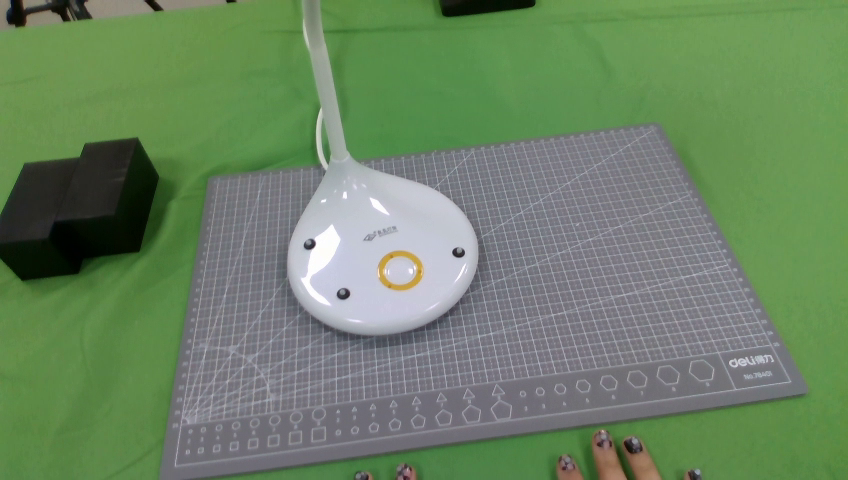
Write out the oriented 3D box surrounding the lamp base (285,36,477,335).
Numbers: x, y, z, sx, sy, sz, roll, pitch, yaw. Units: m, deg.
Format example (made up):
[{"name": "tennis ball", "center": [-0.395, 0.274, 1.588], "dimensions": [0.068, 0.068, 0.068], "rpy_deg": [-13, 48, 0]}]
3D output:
[{"name": "lamp base", "center": [-0.048, -0.047, 0.454], "dimensions": [0.161, 0.182, 0.177], "rpy_deg": [-30, 52, -19]}]
